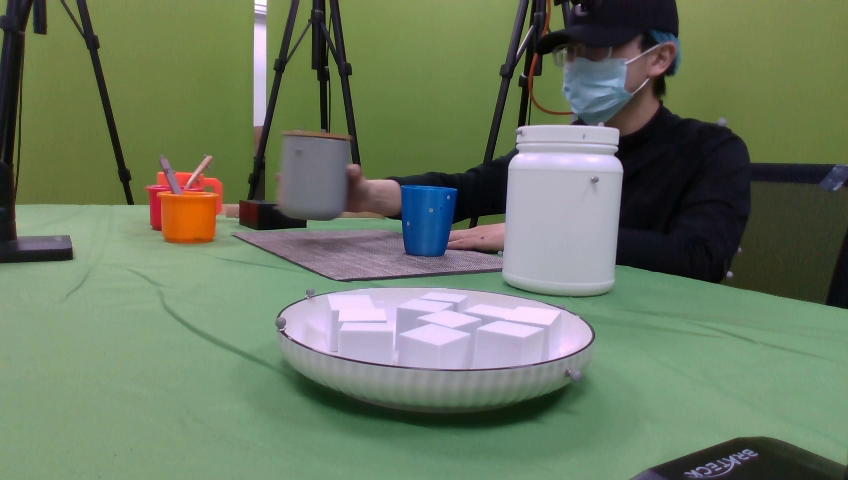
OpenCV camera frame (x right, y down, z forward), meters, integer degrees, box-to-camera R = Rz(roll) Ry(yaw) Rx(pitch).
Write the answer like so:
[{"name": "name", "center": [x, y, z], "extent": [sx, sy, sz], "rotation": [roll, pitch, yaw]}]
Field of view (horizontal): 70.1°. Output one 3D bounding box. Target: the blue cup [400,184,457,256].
[{"name": "blue cup", "center": [0.003, -0.030, 0.901], "extent": [0.093, 0.100, 0.092], "rotation": [4, 8, 0]}]

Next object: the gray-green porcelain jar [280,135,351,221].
[{"name": "gray-green porcelain jar", "center": [-0.172, -0.097, 0.954], "extent": [0.106, 0.126, 0.106], "rotation": [5, 7, 0]}]

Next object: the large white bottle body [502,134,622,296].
[{"name": "large white bottle body", "center": [0.161, -0.037, 0.706], "extent": [0.131, 0.184, 0.130], "rotation": [2, 7, 0]}]

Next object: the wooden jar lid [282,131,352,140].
[{"name": "wooden jar lid", "center": [-0.167, -0.158, 0.947], "extent": [0.108, 0.020, 0.108], "rotation": [2, 8, 0]}]

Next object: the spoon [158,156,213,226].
[{"name": "spoon", "center": [-0.435, -0.094, 1.121], "extent": [0.041, 0.022, 0.193], "rotation": [5, 51, 13]}]

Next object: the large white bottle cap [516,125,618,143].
[{"name": "large white bottle cap", "center": [0.164, -0.120, 0.695], "extent": [0.115, 0.018, 0.115], "rotation": [2, 8, 0]}]

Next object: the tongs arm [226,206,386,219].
[{"name": "tongs arm", "center": [-0.252, -0.063, 1.360], "extent": [0.387, 0.026, 0.050], "rotation": [-1, 4, -31]}]

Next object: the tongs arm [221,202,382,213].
[{"name": "tongs arm", "center": [-0.288, -0.071, 1.435], "extent": [0.389, 0.027, 0.028], "rotation": [1, 0, -18]}]

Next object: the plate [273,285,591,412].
[{"name": "plate", "center": [0.005, 0.069, 0.408], "extent": [0.208, 0.039, 0.207], "rotation": [2, 7, 0]}]

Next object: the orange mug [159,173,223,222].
[{"name": "orange mug", "center": [-0.477, -0.089, 1.241], "extent": [0.127, 0.101, 0.083], "rotation": [-7, 11, -33]}]

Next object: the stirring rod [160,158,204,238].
[{"name": "stirring rod", "center": [-0.390, -0.070, 0.972], "extent": [0.014, 0.006, 0.175], "rotation": [-3, 51, -48]}]
